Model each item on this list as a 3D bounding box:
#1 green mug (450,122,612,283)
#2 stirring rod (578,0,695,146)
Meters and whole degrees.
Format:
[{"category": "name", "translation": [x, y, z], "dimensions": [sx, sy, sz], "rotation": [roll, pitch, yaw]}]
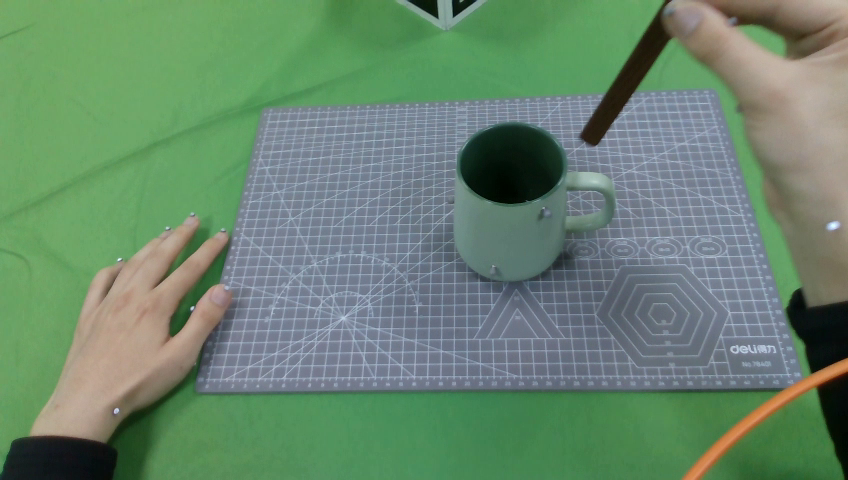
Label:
[{"category": "green mug", "translation": [0.081, -0.027, 0.469], "dimensions": [0.125, 0.106, 0.091], "rotation": [0, 58, 6]}, {"category": "stirring rod", "translation": [0.124, -0.111, 0.320], "dimensions": [0.014, 0.177, 0.006], "rotation": [28, 55, 4]}]
